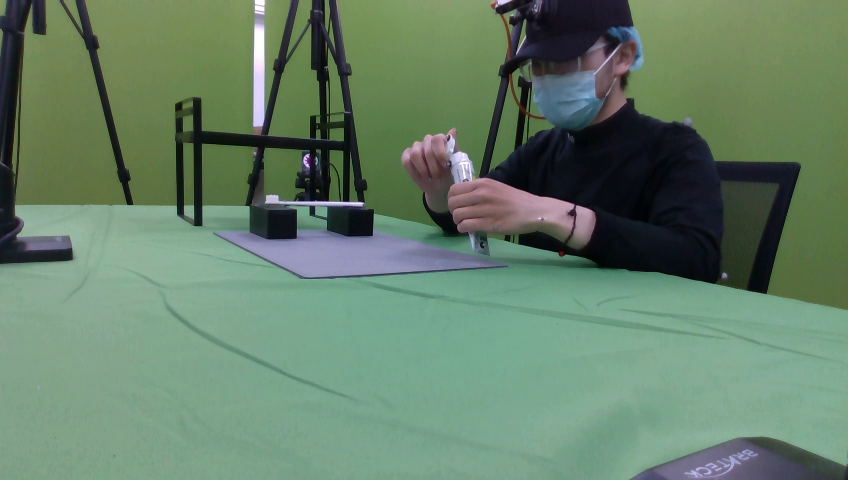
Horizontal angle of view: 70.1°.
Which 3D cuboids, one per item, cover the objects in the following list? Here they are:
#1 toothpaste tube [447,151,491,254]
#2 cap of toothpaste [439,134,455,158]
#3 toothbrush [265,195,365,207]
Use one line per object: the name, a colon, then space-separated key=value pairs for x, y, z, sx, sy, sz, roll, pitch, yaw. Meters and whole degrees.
toothpaste tube: x=0.067 y=-0.059 z=0.899 sx=0.034 sy=0.164 sz=0.055 roll=-24 pitch=-19 yaw=29
cap of toothpaste: x=0.036 y=-0.143 z=0.919 sx=0.011 sy=0.037 sz=0.037 roll=14 pitch=1 yaw=-28
toothbrush: x=-0.192 y=-0.068 z=1.081 sx=0.183 sy=0.016 sz=0.014 roll=1 pitch=-8 yaw=-26
